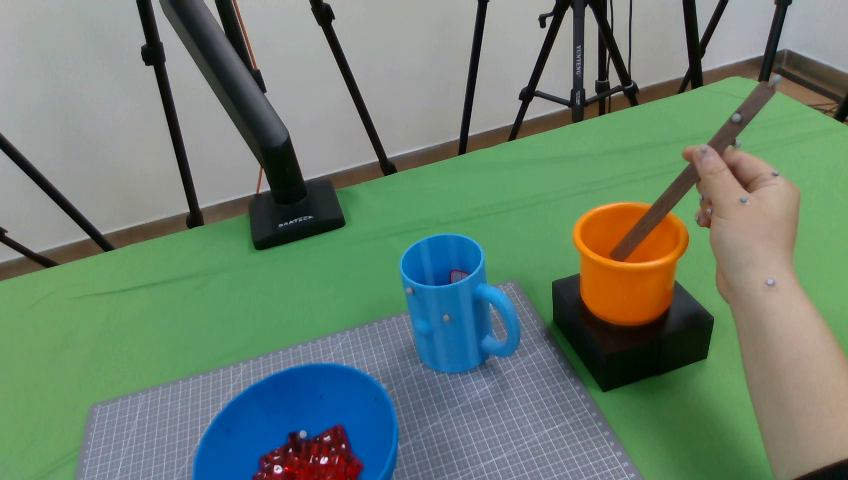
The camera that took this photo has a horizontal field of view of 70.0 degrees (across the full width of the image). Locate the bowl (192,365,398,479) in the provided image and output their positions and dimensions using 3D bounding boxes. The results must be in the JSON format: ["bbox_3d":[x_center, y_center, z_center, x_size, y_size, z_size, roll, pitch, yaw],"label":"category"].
[{"bbox_3d":[-0.088,0.177,0.461,0.151,0.077,0.150,-6,36,5],"label":"bowl"}]

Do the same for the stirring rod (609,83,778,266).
[{"bbox_3d":[0.207,-0.046,0.476,0.014,0.176,0.006,40,25,10],"label":"stirring rod"}]

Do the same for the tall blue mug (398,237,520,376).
[{"bbox_3d":[0.037,0.063,0.559,0.107,0.109,0.077,1,37,14],"label":"tall blue mug"}]
